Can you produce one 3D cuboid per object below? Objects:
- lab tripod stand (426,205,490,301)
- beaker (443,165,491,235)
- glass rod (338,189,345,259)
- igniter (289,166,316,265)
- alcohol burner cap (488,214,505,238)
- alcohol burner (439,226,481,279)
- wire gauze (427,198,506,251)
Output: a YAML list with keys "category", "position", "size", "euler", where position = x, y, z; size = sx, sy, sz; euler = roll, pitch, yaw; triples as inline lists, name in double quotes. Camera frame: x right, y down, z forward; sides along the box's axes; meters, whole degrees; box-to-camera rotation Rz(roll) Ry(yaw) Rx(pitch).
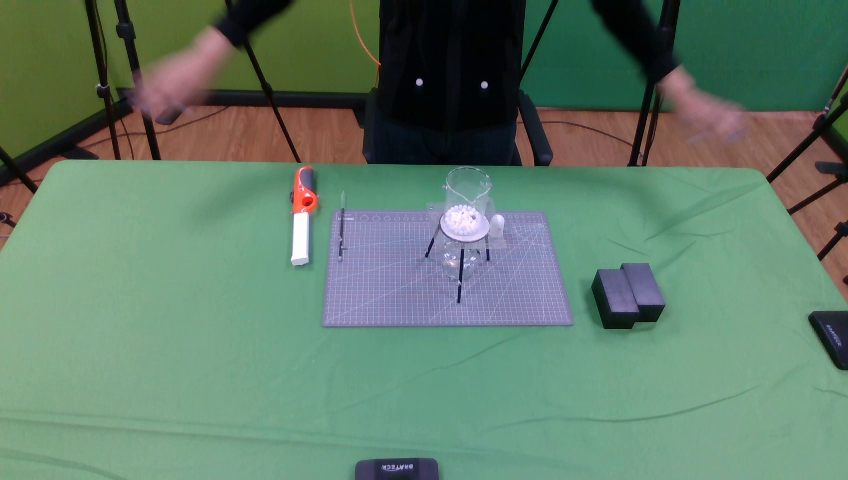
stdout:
- category: "lab tripod stand"
  position: [0.069, 0.016, 1.106]
  size: [0.148, 0.132, 0.147]
  euler: [3, 47, -3]
- category: "beaker"
  position: [0.070, -0.062, 1.023]
  size: [0.074, 0.101, 0.083]
  euler: [-2, 48, -6]
- category: "glass rod"
  position: [-0.166, -0.036, 1.227]
  size: [0.008, 0.008, 0.198]
  euler: [0, 46, -4]
- category: "igniter"
  position: [-0.248, -0.058, 1.233]
  size: [0.057, 0.025, 0.274]
  euler: [-9, 47, 1]
- category: "alcohol burner cap"
  position: [0.147, -0.031, 1.221]
  size: [0.034, 0.048, 0.033]
  euler: [2, 46, -1]
- category: "alcohol burner"
  position: [0.068, 0.017, 1.119]
  size: [0.078, 0.119, 0.077]
  euler: [3, 47, -3]
- category: "wire gauze"
  position: [0.072, -0.028, 1.057]
  size: [0.125, 0.011, 0.120]
  euler: [-1, 49, -8]
